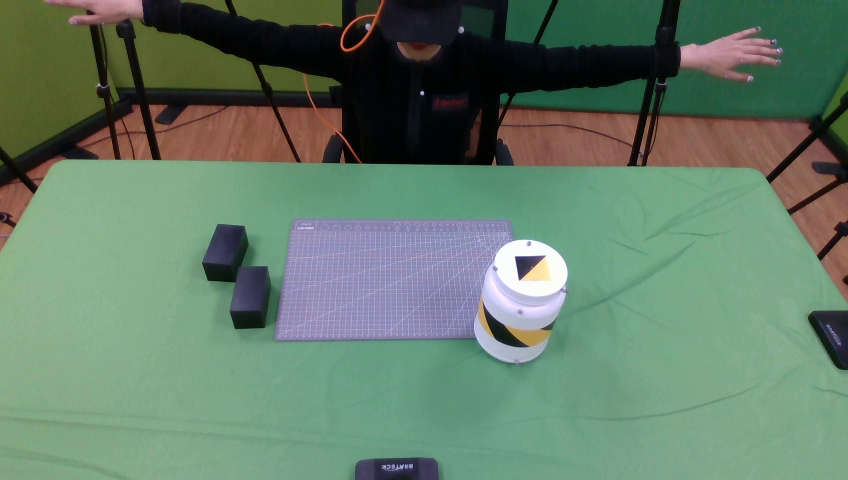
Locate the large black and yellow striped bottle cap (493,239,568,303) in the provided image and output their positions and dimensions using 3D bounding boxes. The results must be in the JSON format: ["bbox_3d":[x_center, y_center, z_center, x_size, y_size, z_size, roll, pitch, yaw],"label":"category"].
[{"bbox_3d":[0.163,0.045,0.932,0.115,0.019,0.114,3,49,-3],"label":"large black and yellow striped bottle cap"}]

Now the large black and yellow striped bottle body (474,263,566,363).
[{"bbox_3d":[0.157,0.103,0.993,0.131,0.185,0.130,3,48,-3],"label":"large black and yellow striped bottle body"}]
